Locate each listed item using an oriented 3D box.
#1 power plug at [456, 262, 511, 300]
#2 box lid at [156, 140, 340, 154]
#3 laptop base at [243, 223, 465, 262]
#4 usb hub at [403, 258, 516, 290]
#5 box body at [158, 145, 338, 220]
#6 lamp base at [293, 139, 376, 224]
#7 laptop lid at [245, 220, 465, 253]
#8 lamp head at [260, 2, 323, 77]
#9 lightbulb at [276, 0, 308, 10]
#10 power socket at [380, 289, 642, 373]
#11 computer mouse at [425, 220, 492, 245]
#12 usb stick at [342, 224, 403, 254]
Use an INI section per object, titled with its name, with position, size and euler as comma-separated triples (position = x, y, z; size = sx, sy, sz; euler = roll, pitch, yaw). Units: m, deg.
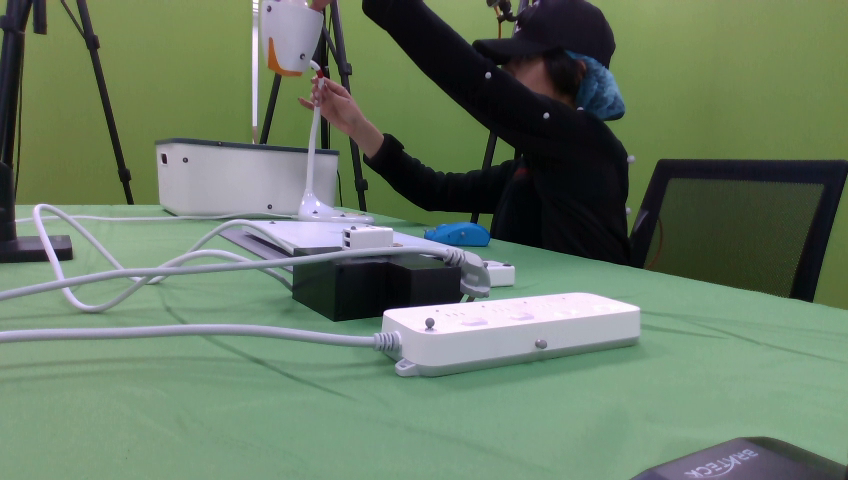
[power plug]
position = 0.052, 0.051, 0.543
size = 0.035, 0.052, 0.072
euler = 6, 38, -20
[box lid]
position = -0.409, -0.213, 1.404
size = 0.373, 0.015, 0.262
euler = -2, 8, -32
[laptop base]
position = -0.126, 0.003, 0.946
size = 0.237, 0.023, 0.352
euler = 2, 6, -31
[usb hub]
position = 0.042, 0.038, 0.690
size = 0.126, 0.025, 0.049
euler = -2, 9, -30
[box body]
position = -0.410, -0.139, 1.414
size = 0.366, 0.160, 0.253
euler = -3, 8, -33
[lamp base]
position = -0.191, -0.121, 1.257
size = 0.179, 0.180, 0.161
euler = 0, 6, 7
[laptop lid]
position = -0.124, -0.009, 0.945
size = 0.243, 0.013, 0.355
euler = 1, 7, -29
[lamp head]
position = -0.245, -0.361, 1.107
size = 0.112, 0.123, 0.112
euler = 7, 15, -2
[lightbulb]
position = -0.242, -0.393, 1.099
size = 0.059, 0.107, 0.059
euler = 5, 4, 0
[power socket]
position = 0.072, 0.064, 0.461
size = 0.228, 0.032, 0.072
euler = -2, 8, -30
[computer mouse]
position = 0.060, -0.013, 1.060
size = 0.117, 0.041, 0.062
euler = -2, 9, -6
[usb stick]
position = -0.047, -0.001, 0.567
size = 0.059, 0.027, 0.021
euler = 0, 5, -32
